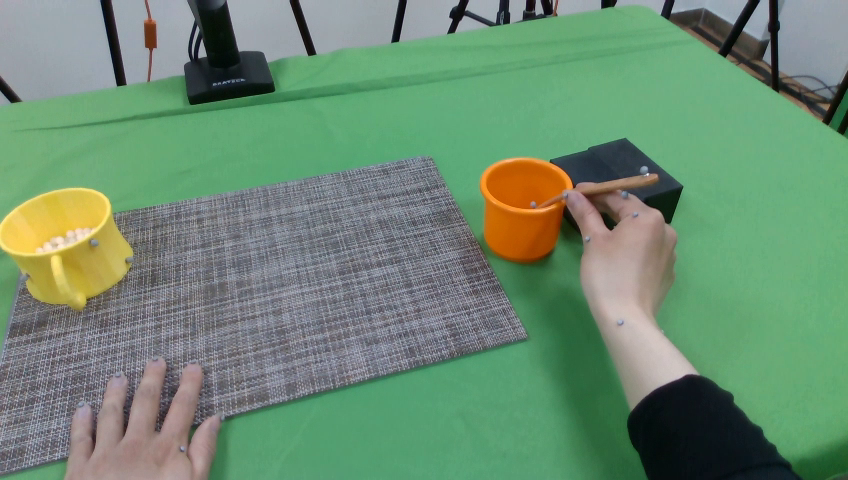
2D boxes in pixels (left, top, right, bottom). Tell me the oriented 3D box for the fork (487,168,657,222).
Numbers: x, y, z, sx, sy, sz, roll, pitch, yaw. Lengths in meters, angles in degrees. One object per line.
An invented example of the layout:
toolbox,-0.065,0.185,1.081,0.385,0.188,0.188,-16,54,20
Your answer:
fork,0.130,-0.041,0.571,0.028,0.019,0.206,-37,10,-31

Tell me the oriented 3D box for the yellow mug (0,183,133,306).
yellow mug,-0.340,0.009,0.579,0.100,0.064,0.129,-17,46,-17
